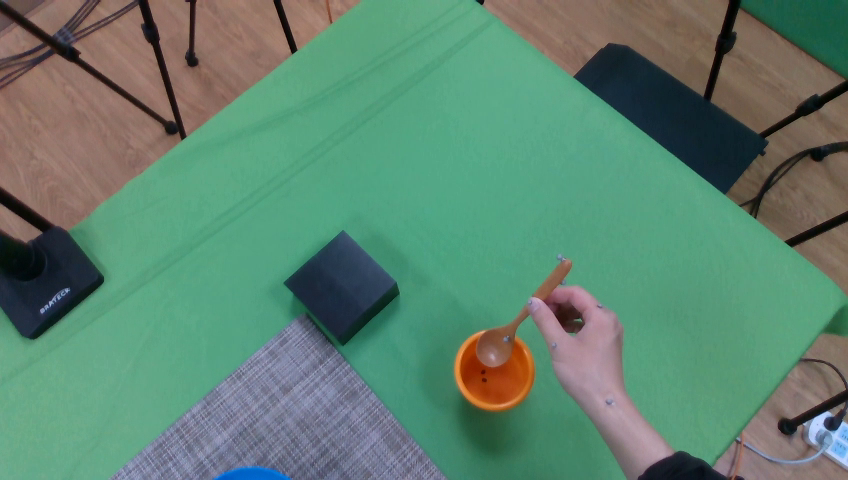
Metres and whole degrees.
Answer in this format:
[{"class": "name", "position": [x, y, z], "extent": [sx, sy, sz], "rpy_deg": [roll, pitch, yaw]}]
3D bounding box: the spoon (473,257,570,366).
[{"class": "spoon", "position": [0.101, 0.080, 0.634], "extent": [0.041, 0.194, 0.021], "rpy_deg": [45, 50, 13]}]

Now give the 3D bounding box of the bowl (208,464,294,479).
[{"class": "bowl", "position": [-0.184, 0.324, 0.661], "extent": [0.151, 0.077, 0.150], "rpy_deg": [-1, 70, 2]}]
